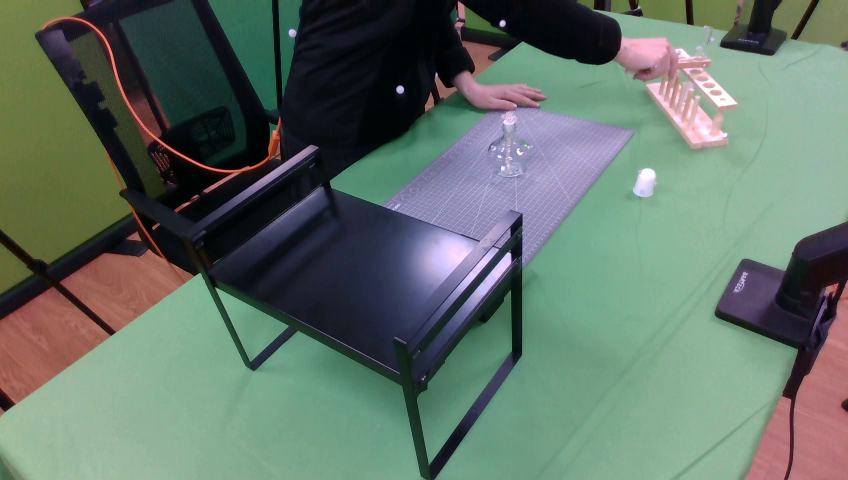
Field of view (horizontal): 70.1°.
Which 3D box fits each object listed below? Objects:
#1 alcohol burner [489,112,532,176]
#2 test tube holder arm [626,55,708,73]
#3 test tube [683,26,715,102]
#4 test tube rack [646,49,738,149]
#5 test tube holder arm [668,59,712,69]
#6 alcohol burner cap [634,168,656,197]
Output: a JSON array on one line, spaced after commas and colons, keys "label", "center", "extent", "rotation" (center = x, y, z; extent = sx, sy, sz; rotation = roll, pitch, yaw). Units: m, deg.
[{"label": "alcohol burner", "center": [0.155, -0.176, 1.084], "extent": [0.078, 0.119, 0.077], "rotation": [-3, 41, 3]}, {"label": "test tube holder arm", "center": [0.455, -0.329, 1.133], "extent": [0.179, 0.015, 0.013], "rotation": [-10, 47, -16]}, {"label": "test tube", "center": [0.522, -0.332, 1.152], "extent": [0.017, 0.151, 0.017], "rotation": [1, 42, 0]}, {"label": "test tube rack", "center": [0.511, -0.280, 1.175], "extent": [0.067, 0.085, 0.241], "rotation": [-7, 41, 0]}, {"label": "test tube holder arm", "center": [0.500, -0.332, 1.140], "extent": [0.088, 0.015, 0.010], "rotation": [-4, 46, -10]}, {"label": "alcohol burner cap", "center": [0.374, -0.099, 1.018], "extent": [0.034, 0.048, 0.033], "rotation": [-1, 41, 1]}]
